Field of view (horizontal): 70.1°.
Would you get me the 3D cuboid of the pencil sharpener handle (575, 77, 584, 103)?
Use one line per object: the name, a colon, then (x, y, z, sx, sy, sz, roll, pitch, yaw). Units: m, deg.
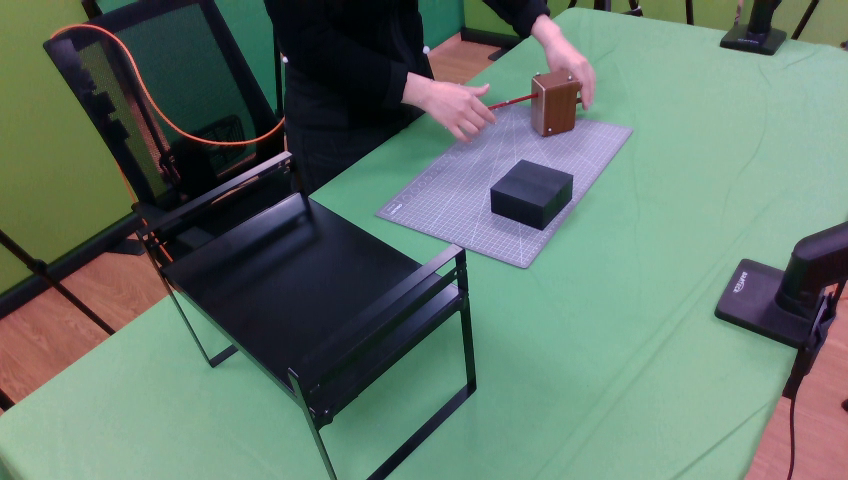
pencil sharpener handle: (0.302, -0.294, 1.183, 0.031, 0.068, 0.035, -15, 59, -9)

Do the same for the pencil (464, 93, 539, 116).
pencil: (0.169, -0.263, 1.149, 0.194, 0.012, 0.012, -16, 41, -9)

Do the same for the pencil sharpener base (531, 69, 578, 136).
pencil sharpener base: (0.256, -0.268, 1.179, 0.077, 0.107, 0.061, -15, 41, -9)
